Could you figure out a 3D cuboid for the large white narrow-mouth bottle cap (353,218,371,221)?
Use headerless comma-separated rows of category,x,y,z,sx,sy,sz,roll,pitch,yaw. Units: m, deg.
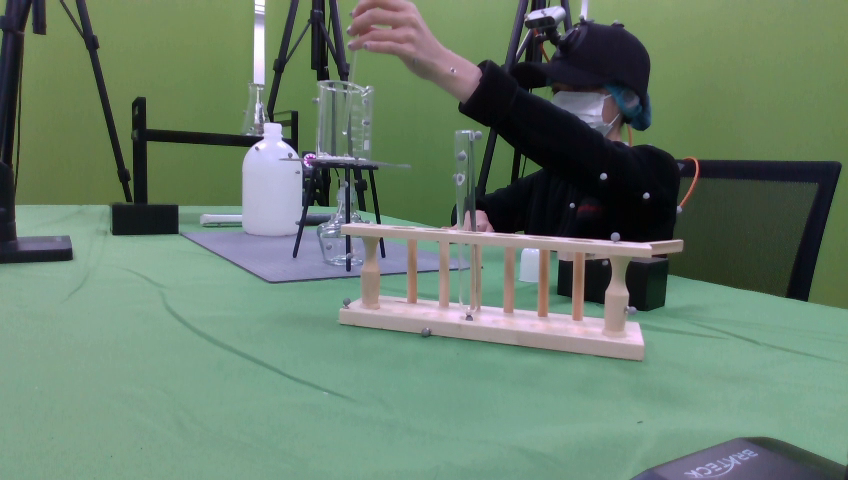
large white narrow-mouth bottle cap,-0.121,-0.029,1.184,0.038,0.024,0.037,2,8,0

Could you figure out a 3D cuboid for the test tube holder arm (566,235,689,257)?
test tube holder arm,0.216,0.006,0.629,0.179,0.015,0.013,-3,11,-30

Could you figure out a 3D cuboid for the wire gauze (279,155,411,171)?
wire gauze,-0.103,-0.103,0.785,0.121,0.011,0.126,11,8,42

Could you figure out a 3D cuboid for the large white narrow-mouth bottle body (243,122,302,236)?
large white narrow-mouth bottle body,-0.264,-0.109,1.061,0.102,0.194,0.102,2,8,0

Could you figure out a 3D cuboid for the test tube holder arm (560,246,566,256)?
test tube holder arm,0.173,0.007,0.611,0.088,0.015,0.010,-3,11,-29

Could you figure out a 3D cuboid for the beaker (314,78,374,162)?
beaker,-0.101,-0.150,0.773,0.074,0.100,0.083,-2,8,-40

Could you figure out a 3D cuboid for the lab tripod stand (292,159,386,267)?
lab tripod stand,-0.105,-0.039,0.798,0.148,0.131,0.148,2,5,0

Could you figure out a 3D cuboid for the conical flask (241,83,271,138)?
conical flask,-0.384,-0.297,1.393,0.075,0.122,0.075,2,7,0

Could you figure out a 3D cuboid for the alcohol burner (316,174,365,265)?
alcohol burner,-0.102,-0.028,0.790,0.078,0.119,0.078,0,6,0

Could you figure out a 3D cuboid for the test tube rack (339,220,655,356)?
test tube rack,0.056,0.032,0.495,0.242,0.085,0.067,4,7,15

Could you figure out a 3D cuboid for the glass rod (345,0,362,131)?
glass rod,-0.086,-0.235,0.753,0.008,0.199,0.008,7,9,-1

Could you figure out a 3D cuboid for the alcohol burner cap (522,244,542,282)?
alcohol burner cap,0.137,0.026,0.740,0.034,0.048,0.034,1,6,0

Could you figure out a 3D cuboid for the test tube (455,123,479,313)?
test tube,0.034,-0.016,0.476,0.017,0.150,0.017,-2,10,1

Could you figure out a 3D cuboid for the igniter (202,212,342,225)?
igniter,-0.298,-0.043,1.216,0.278,0.025,0.057,-3,-2,-32
